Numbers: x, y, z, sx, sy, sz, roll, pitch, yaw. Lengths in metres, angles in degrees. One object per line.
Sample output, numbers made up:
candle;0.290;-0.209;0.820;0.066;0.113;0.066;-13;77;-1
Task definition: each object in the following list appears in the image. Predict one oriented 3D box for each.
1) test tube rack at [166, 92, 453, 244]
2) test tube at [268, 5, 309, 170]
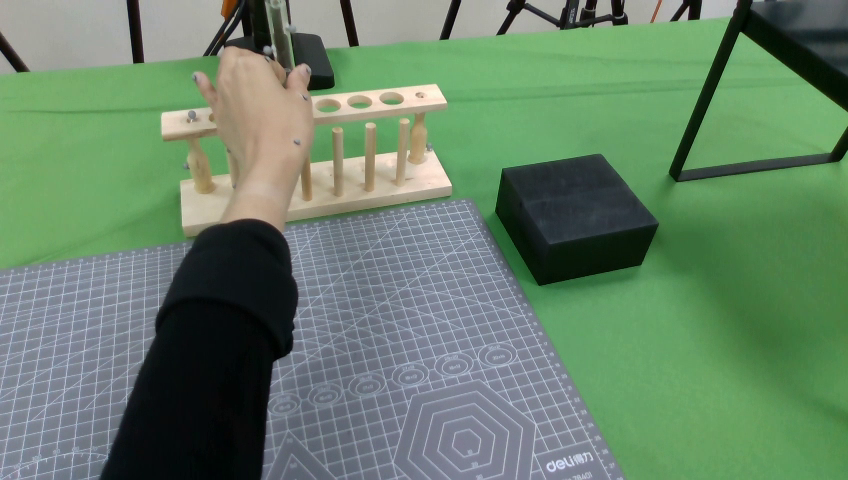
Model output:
test tube rack;-0.095;-0.068;0.548;0.243;0.086;0.066;-10;45;-15
test tube;-0.113;-0.123;0.516;0.017;0.151;0.017;0;42;0
